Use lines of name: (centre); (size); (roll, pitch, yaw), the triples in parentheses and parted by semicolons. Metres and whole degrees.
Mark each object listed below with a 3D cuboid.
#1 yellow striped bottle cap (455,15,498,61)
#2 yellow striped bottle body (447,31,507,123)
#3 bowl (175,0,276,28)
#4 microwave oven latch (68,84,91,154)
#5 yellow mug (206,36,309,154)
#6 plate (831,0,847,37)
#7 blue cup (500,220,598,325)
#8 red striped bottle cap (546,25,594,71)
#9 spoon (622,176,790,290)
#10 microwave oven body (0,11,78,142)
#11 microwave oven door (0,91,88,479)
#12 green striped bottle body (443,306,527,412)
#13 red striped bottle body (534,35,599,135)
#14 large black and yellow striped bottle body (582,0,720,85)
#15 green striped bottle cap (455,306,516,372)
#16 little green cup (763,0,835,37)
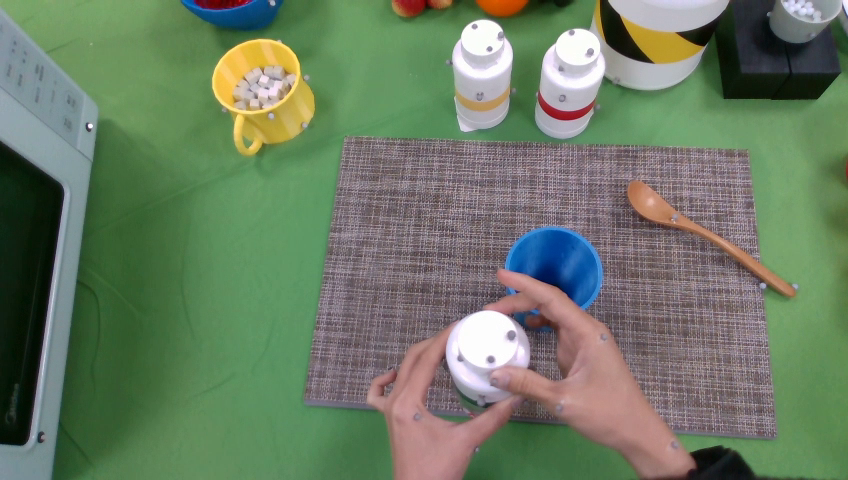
yellow striped bottle cap: (0.053, -0.202, 0.605); (0.044, 0.019, 0.044); (-1, 71, 4)
yellow striped bottle body: (0.057, -0.184, 0.653); (0.063, 0.121, 0.062); (-2, 69, 5)
bowl: (-0.235, -0.319, 0.750); (0.151, 0.077, 0.150); (-1, 70, 4)
microwave oven latch: (-0.406, -0.138, 0.699); (0.030, 0.030, 0.078); (-5, 70, 3)
yellow mug: (-0.194, -0.160, 0.694); (0.100, 0.064, 0.130); (12, 72, 8)
plate: (0.565, -0.272, 0.689); (0.209, 0.038, 0.207); (-1, 70, 4)
blue cup: (0.111, 0.040, 0.573); (0.092, 0.101, 0.092); (-1, 69, 3)
red striped bottle cap: (0.143, -0.188, 0.592); (0.044, 0.018, 0.044); (0, 69, 0)
spoon: (0.286, -0.007, 0.618); (0.193, 0.022, 0.041); (34, 51, 15)
microwave oven body: (-0.545, 0.009, 0.553); (0.326, 0.262, 0.438); (-6, 70, 2)
microwave oven door: (-0.397, 0.030, 0.528); (0.039, 0.245, 0.353); (-7, 69, 3)
green striped bottle body: (0.049, 0.093, 0.478); (0.063, 0.120, 0.062); (-3, 63, 6)
red striped bottle body: (0.149, -0.169, 0.641); (0.063, 0.120, 0.062); (-3, 67, 8)
large black and yellow striped bottle body: (0.243, -0.267, 0.635); (0.131, 0.185, 0.130); (-2, 69, 5)
green striped bottle cap: (0.044, 0.070, 0.432); (0.044, 0.020, 0.044); (-3, 61, 6)
little green cup: (0.393, -0.248, 0.640); (0.061, 0.039, 0.061); (-1, 68, 3)
